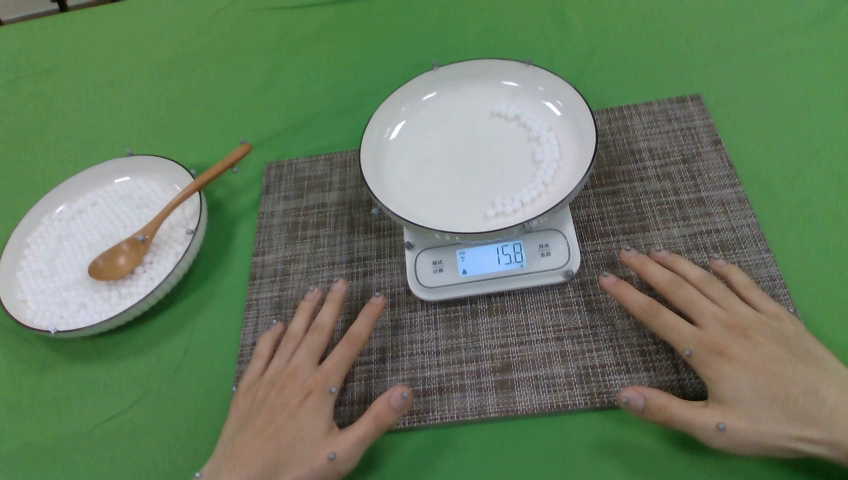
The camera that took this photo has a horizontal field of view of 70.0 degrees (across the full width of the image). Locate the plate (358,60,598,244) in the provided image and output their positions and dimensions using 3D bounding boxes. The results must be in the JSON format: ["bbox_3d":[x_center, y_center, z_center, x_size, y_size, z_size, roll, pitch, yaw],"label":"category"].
[{"bbox_3d":[0.046,-0.079,0.540,0.207,0.039,0.205,-5,55,7],"label":"plate"}]

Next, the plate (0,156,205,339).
[{"bbox_3d":[-0.312,0.006,0.595,0.209,0.038,0.207,-5,55,7],"label":"plate"}]

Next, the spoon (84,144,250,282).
[{"bbox_3d":[-0.243,-0.030,0.585,0.193,0.022,0.041,-46,60,-11],"label":"spoon"}]

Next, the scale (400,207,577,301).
[{"bbox_3d":[0.049,-0.043,0.555,0.148,0.032,0.199,-9,55,6],"label":"scale"}]
